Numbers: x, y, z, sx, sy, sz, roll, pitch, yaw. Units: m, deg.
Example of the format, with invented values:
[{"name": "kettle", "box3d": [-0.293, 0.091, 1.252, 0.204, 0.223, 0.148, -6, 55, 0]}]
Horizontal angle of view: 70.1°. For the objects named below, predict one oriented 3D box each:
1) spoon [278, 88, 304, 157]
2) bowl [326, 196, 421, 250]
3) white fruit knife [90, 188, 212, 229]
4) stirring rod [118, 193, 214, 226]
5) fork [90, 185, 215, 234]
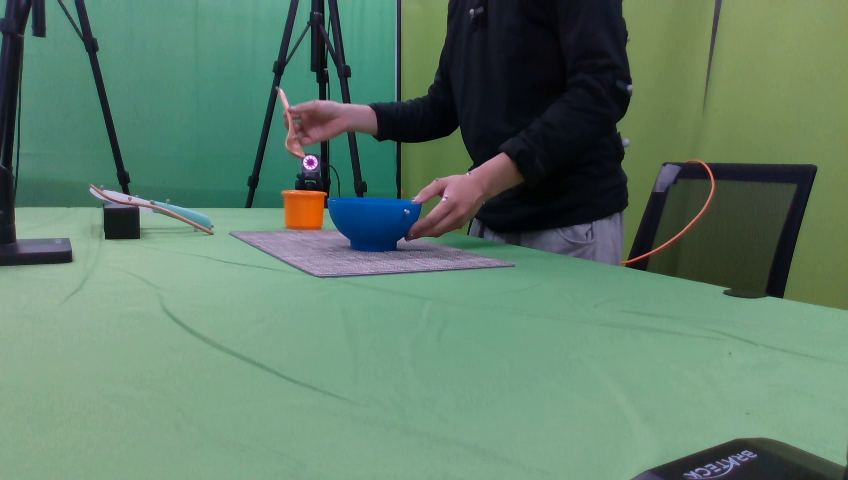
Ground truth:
[{"name": "spoon", "box3d": [-0.270, -0.238, 1.208, 0.021, 0.193, 0.042, -36, -35, 31]}, {"name": "bowl", "box3d": [-0.081, -0.027, 0.958, 0.151, 0.077, 0.151, 2, 7, 0]}, {"name": "white fruit knife", "box3d": [-0.478, -0.058, 1.073, 0.208, 0.027, 0.016, 17, -4, -30]}, {"name": "stirring rod", "box3d": [-0.484, -0.057, 1.142, 0.177, 0.006, 0.014, 21, -4, -29]}, {"name": "fork", "box3d": [-0.452, -0.049, 1.018, 0.208, 0.018, 0.028, 21, -7, -33]}]
